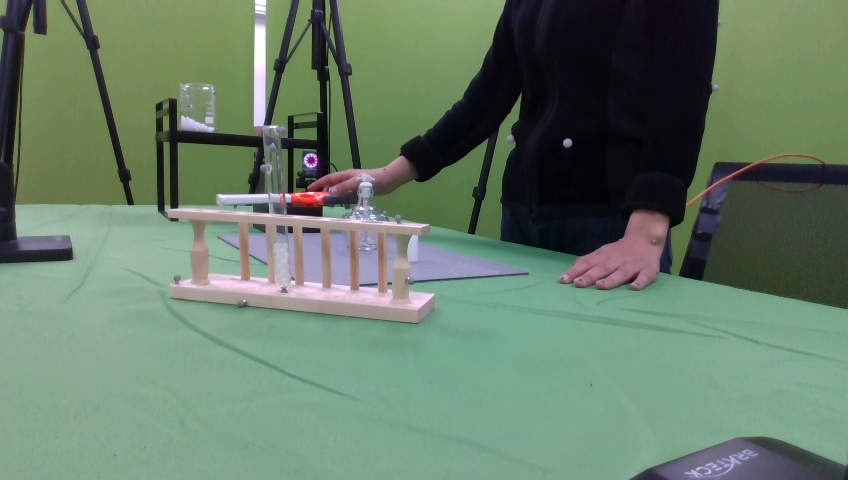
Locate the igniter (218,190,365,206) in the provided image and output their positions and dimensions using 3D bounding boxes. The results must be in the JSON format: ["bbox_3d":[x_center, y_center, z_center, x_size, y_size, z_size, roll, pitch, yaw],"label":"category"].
[{"bbox_3d":[-0.247,-0.080,1.155,0.278,0.025,0.057,-3,14,-26],"label":"igniter"}]

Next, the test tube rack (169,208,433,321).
[{"bbox_3d":[-0.115,0.018,0.574,0.242,0.085,0.067,4,8,14],"label":"test tube rack"}]

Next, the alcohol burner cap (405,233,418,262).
[{"bbox_3d":[-0.024,0.005,0.847,0.034,0.048,0.034,2,9,0],"label":"alcohol burner cap"}]

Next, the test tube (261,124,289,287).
[{"bbox_3d":[-0.136,-0.030,0.554,0.017,0.150,0.017,-2,10,1],"label":"test tube"}]

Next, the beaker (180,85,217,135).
[{"bbox_3d":[-0.478,-0.275,1.279,0.074,0.100,0.084,4,8,15],"label":"beaker"}]

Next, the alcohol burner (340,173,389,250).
[{"bbox_3d":[-0.093,-0.045,0.939,0.078,0.119,0.078,0,7,0],"label":"alcohol burner"}]
